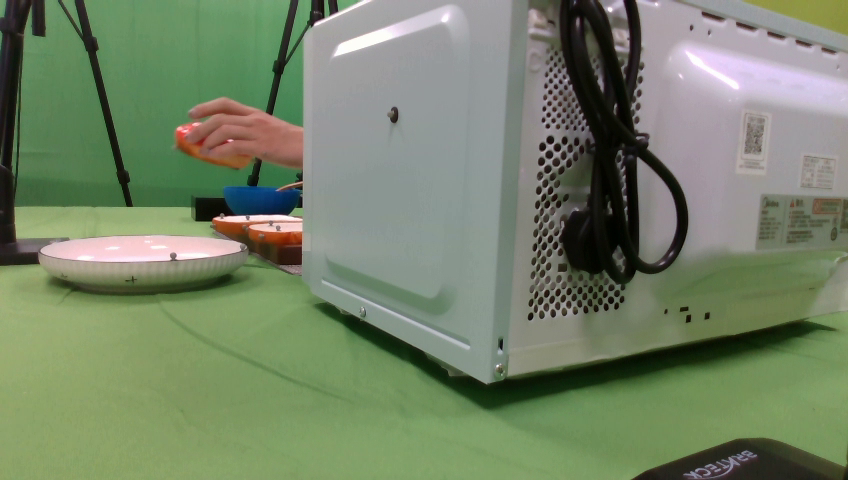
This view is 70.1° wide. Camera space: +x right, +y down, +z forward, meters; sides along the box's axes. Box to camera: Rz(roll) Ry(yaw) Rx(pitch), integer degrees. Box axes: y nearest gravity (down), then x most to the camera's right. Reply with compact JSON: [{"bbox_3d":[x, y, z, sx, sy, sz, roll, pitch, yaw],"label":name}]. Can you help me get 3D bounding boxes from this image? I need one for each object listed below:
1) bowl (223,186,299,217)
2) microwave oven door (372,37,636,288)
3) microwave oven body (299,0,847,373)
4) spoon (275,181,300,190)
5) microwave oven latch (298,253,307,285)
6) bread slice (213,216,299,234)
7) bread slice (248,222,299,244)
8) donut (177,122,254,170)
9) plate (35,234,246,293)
[{"bbox_3d":[-0.330,-0.068,1.230,0.151,0.077,0.151,3,7,0],"label":"bowl"},{"bbox_3d":[0.109,-0.080,0.686,0.358,0.243,0.039,-2,9,-33],"label":"microwave oven door"},{"bbox_3d":[0.151,-0.055,0.542,0.444,0.260,0.324,-2,7,-33],"label":"microwave oven body"},{"bbox_3d":[-0.301,-0.101,1.260,0.041,0.021,0.194,12,29,33],"label":"spoon"},{"bbox_3d":[-0.081,0.027,0.582,0.079,0.029,0.030,-1,7,-32],"label":"microwave oven latch"},{"bbox_3d":[-0.256,-0.025,0.936,0.132,0.019,0.104,-4,8,-40],"label":"bread slice"},{"bbox_3d":[-0.174,-0.012,0.844,0.135,0.018,0.106,-6,10,-44],"label":"bread slice"},{"bbox_3d":[-0.278,-0.127,0.808,0.099,0.048,0.099,19,12,-4],"label":"donut"},{"bbox_3d":[-0.305,0.026,0.668,0.208,0.039,0.207,2,7,0],"label":"plate"}]
